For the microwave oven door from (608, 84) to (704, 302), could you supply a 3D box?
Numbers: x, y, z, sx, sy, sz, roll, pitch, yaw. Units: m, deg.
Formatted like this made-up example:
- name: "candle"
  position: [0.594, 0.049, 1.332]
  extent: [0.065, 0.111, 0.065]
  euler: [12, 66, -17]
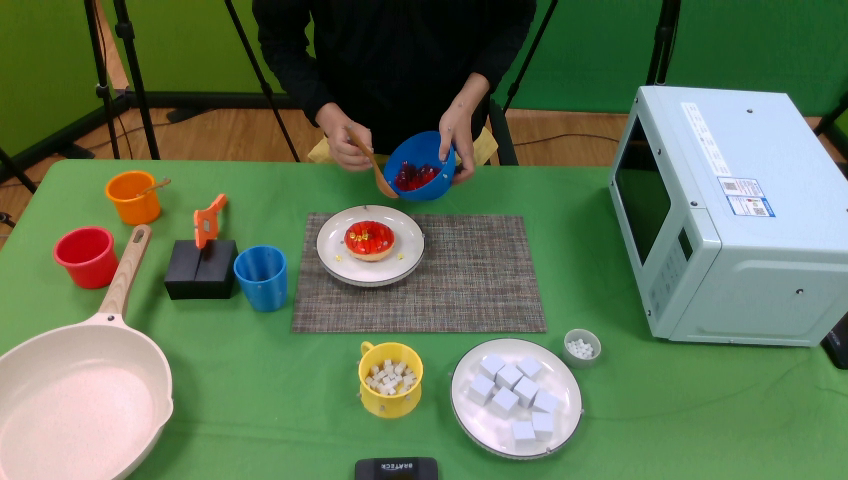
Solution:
- name: "microwave oven door"
  position: [0.424, -0.096, 1.138]
  extent: [0.039, 0.245, 0.353]
  euler: [3, 46, -1]

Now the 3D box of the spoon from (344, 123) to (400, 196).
- name: "spoon"
  position: [-0.092, -0.138, 1.065]
  extent: [0.041, 0.195, 0.021]
  euler: [26, 67, 40]

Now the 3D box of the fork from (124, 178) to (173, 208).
- name: "fork"
  position: [-0.525, -0.090, 1.153]
  extent: [0.207, 0.019, 0.028]
  euler: [-18, 27, 45]

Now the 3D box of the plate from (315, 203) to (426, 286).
- name: "plate"
  position: [-0.101, 0.012, 1.159]
  extent: [0.209, 0.038, 0.208]
  euler: [2, 46, -2]

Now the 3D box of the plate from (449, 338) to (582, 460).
- name: "plate"
  position: [0.141, 0.251, 0.955]
  extent: [0.208, 0.039, 0.206]
  euler: [2, 46, -2]

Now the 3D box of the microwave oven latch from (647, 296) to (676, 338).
- name: "microwave oven latch"
  position: [0.413, 0.133, 1.060]
  extent: [0.030, 0.029, 0.078]
  euler: [4, 46, 1]

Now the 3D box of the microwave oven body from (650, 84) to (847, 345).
- name: "microwave oven body"
  position: [0.569, -0.054, 1.116]
  extent: [0.326, 0.261, 0.439]
  euler: [2, 46, -1]

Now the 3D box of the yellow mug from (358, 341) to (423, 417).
- name: "yellow mug"
  position: [-0.062, 0.210, 0.961]
  extent: [0.100, 0.064, 0.130]
  euler: [-29, 54, -27]

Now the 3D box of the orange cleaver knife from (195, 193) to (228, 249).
- name: "orange cleaver knife"
  position: [-0.406, -0.041, 1.163]
  extent: [0.012, 0.077, 0.210]
  euler: [0, 18, -3]

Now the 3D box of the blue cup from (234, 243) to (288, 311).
- name: "blue cup"
  position: [-0.276, 0.072, 1.052]
  extent: [0.093, 0.101, 0.092]
  euler: [1, 48, -1]

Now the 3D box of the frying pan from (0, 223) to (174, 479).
- name: "frying pan"
  position: [-0.505, 0.169, 0.941]
  extent: [0.307, 0.103, 0.485]
  euler: [5, 54, -1]

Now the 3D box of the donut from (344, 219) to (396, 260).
- name: "donut"
  position: [-0.103, -0.002, 1.157]
  extent: [0.099, 0.048, 0.098]
  euler: [3, 43, -2]

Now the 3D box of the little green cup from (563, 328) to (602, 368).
- name: "little green cup"
  position: [0.265, 0.184, 1.025]
  extent: [0.061, 0.039, 0.061]
  euler: [1, 46, -1]

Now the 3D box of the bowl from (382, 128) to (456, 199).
- name: "bowl"
  position: [0.005, -0.131, 1.164]
  extent: [0.151, 0.077, 0.150]
  euler: [-18, 49, 23]
